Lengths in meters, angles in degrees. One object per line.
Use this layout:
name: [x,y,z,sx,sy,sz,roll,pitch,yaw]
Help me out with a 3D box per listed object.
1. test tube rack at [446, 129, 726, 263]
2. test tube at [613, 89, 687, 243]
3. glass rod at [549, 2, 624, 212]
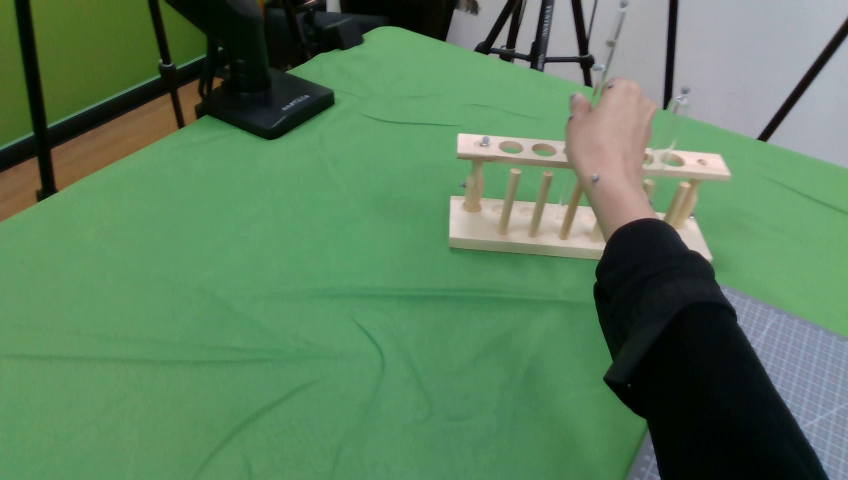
test tube rack: [0.145,-0.041,0.562,0.242,0.086,0.066,4,41,-1]
test tube: [0.192,-0.059,0.519,0.017,0.151,0.017,5,40,-4]
glass rod: [0.141,-0.108,0.538,0.008,0.201,0.008,7,36,-5]
